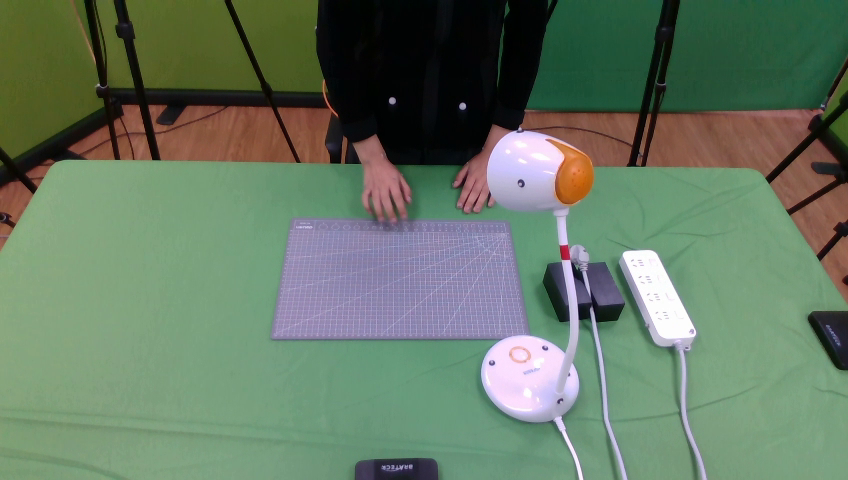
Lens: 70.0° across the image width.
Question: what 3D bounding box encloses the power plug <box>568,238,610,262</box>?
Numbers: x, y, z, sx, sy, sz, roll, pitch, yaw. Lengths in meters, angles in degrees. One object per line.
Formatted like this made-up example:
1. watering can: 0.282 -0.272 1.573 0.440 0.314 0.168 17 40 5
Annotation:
1. power plug: 0.306 0.020 1.130 0.073 0.052 0.035 -9 91 -19

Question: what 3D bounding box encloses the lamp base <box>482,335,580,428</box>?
1. lamp base: 0.185 0.177 0.928 0.161 0.181 0.178 -22 53 -23

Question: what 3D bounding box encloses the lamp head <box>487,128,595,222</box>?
1. lamp head: 0.160 -0.084 0.791 0.112 0.113 0.122 -24 28 -25

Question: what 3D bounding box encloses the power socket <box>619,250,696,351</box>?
1. power socket: 0.428 0.103 1.121 0.072 0.033 0.225 -3 46 -6
